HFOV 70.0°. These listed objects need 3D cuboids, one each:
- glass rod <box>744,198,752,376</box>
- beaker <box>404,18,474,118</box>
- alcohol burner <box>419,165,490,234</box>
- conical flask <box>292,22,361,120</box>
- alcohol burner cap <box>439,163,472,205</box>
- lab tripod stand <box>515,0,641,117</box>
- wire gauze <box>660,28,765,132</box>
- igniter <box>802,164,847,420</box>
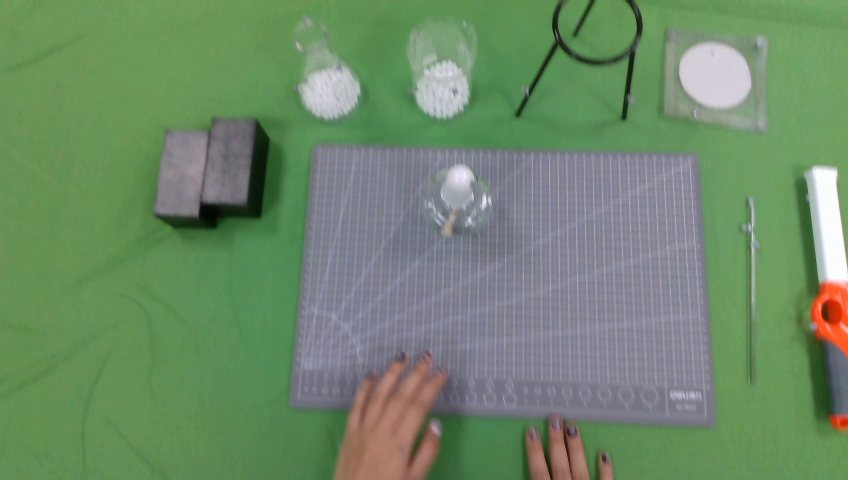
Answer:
[{"bbox_3d":[0.356,0.049,0.665,0.008,0.008,0.199,6,76,3],"label":"glass rod"},{"bbox_3d":[0.020,-0.191,0.686,0.084,0.101,0.073,-38,78,-8],"label":"beaker"},{"bbox_3d":[0.033,-0.048,0.641,0.078,0.119,0.077,0,75,0],"label":"alcohol burner"},{"bbox_3d":[-0.115,-0.192,0.678,0.075,0.122,0.075,0,76,2],"label":"conical flask"},{"bbox_3d":[0.033,-0.059,0.606,0.034,0.048,0.033,2,70,-6],"label":"alcohol burner cap"},{"bbox_3d":[0.171,-0.198,0.666,0.148,0.132,0.147,0,78,2],"label":"lab tripod stand"},{"bbox_3d":[0.346,-0.196,0.725,0.125,0.011,0.121,9,77,2],"label":"wire gauze"},{"bbox_3d":[0.439,0.051,0.652,0.057,0.025,0.275,5,76,-8],"label":"igniter"}]
